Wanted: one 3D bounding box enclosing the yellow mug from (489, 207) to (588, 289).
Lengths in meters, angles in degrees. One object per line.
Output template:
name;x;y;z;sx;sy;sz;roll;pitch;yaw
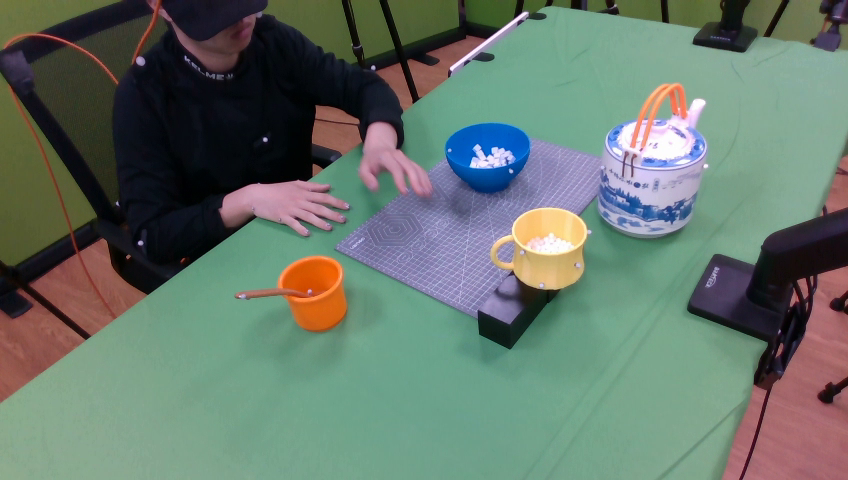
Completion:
yellow mug;0.154;0.013;0.821;0.131;0.064;0.099;-8;40;0

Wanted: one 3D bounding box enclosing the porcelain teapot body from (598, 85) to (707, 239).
porcelain teapot body;0.363;-0.137;0.921;0.144;0.226;0.206;28;51;36

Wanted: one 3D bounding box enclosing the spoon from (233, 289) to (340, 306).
spoon;-0.180;0.075;0.811;0.041;0.195;0.021;18;91;31

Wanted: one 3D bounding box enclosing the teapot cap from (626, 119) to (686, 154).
teapot cap;0.338;-0.153;0.882;0.085;0.044;0.085;-3;38;3

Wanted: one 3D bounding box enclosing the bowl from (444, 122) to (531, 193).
bowl;0.113;-0.136;1.063;0.151;0.077;0.150;-4;41;4
